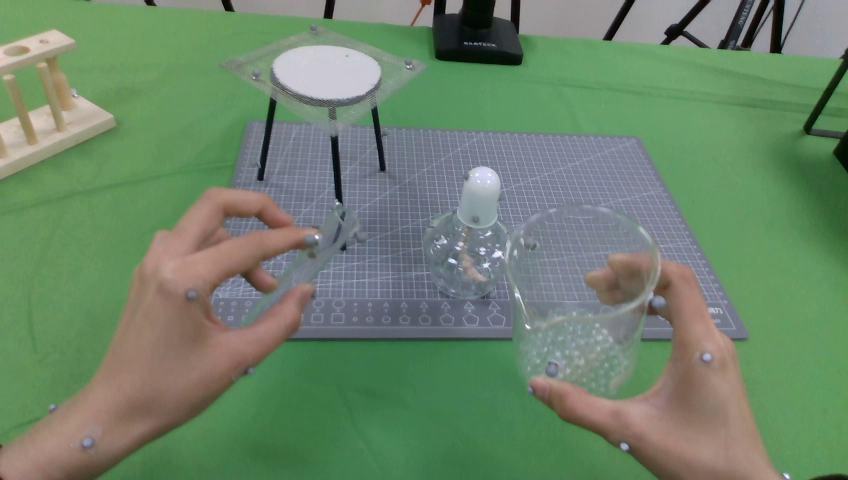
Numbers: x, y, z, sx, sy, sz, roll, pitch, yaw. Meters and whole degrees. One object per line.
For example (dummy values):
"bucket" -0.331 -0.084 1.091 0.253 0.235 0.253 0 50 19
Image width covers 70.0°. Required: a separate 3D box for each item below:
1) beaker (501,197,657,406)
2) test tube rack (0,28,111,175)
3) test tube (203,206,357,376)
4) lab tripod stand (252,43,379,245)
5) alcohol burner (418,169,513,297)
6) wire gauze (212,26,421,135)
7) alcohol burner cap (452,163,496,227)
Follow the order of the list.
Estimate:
"beaker" 0.079 0.040 0.329 0.073 0.101 0.084 26 58 29
"test tube rack" -0.418 -0.102 0.539 0.066 0.086 0.242 29 47 21
"test tube" -0.087 0.034 0.345 0.017 0.150 0.017 33 29 -21
"lab tripod stand" -0.088 -0.090 0.536 0.148 0.132 0.147 6 44 -5
"alcohol burner" 0.036 -0.011 0.486 0.078 0.120 0.077 5 43 -5
"wire gauze" -0.084 -0.138 0.489 0.124 0.011 0.121 30 49 20
"alcohol burner cap" 0.039 -0.036 0.460 0.034 0.048 0.033 2 48 -2
